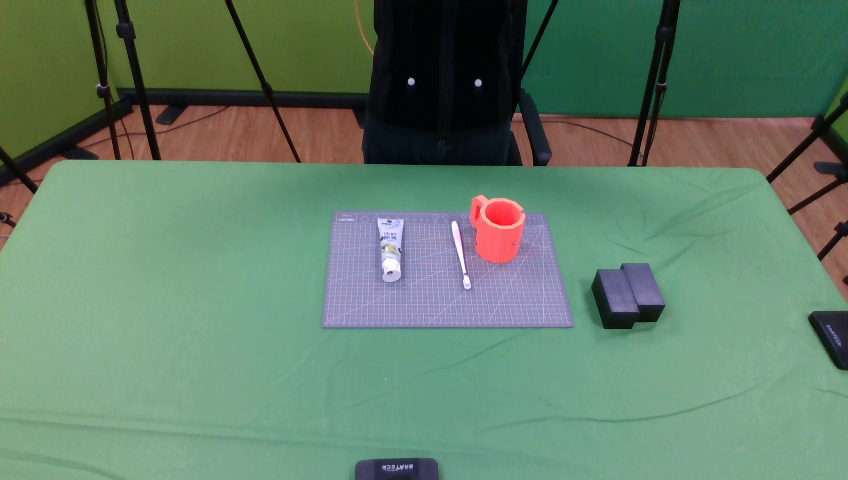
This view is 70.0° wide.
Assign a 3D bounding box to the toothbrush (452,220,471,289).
[{"bbox_3d":[0.071,0.024,1.180,0.014,0.017,0.180,-13,45,4],"label":"toothbrush"}]

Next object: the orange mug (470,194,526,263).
[{"bbox_3d":[0.136,-0.030,1.180,0.083,0.101,0.125,-26,58,-26],"label":"orange mug"}]

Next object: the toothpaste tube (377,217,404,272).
[{"bbox_3d":[-0.063,0.008,1.179,0.055,0.034,0.164,5,42,-9],"label":"toothpaste tube"}]

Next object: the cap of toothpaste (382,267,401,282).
[{"bbox_3d":[-0.060,0.063,1.119,0.037,0.037,0.011,-9,50,-12],"label":"cap of toothpaste"}]
